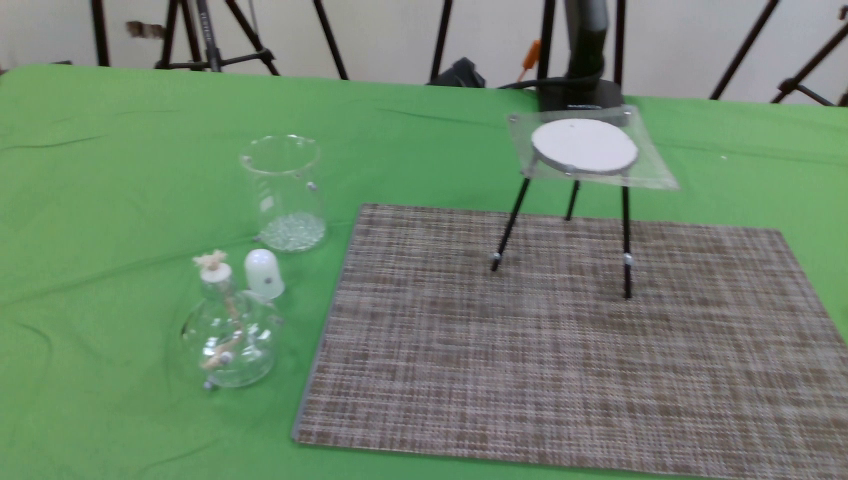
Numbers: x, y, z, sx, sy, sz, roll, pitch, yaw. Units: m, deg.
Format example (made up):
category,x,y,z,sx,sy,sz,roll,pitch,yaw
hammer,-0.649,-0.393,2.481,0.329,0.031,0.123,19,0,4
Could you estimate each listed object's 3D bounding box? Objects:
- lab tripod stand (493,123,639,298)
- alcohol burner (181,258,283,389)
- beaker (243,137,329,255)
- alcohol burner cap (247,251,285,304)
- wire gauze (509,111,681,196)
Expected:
category,x,y,z,sx,sy,sz,roll,pitch,yaw
lab tripod stand,0.142,-0.028,0.560,0.148,0.132,0.147,2,39,-1
alcohol burner,-0.150,0.059,0.466,0.078,0.120,0.077,2,41,-1
beaker,-0.132,-0.043,0.603,0.074,0.101,0.083,14,40,14
alcohol burner cap,-0.147,0.032,0.556,0.034,0.048,0.033,1,39,-1
wire gauze,0.139,-0.078,0.513,0.125,0.011,0.120,1,40,-1
